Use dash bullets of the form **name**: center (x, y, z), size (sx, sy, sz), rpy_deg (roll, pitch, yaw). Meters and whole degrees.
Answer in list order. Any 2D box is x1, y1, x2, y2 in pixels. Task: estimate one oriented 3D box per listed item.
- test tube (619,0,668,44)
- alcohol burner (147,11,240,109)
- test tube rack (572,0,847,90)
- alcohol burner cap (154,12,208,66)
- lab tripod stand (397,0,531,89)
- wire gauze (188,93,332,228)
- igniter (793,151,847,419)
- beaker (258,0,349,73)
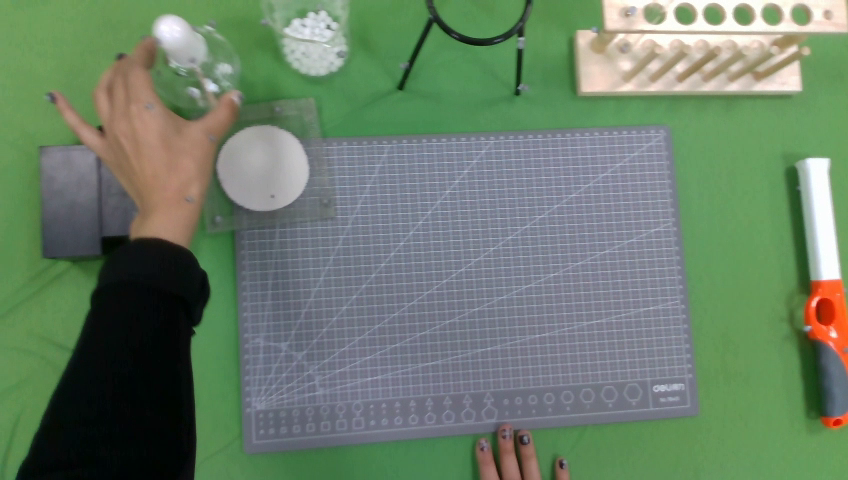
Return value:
- **test tube**: center (0.213, -0.220, 0.553), size (0.017, 0.150, 0.017), rpy_deg (1, 81, -5)
- **alcohol burner**: center (-0.201, -0.159, 0.521), size (0.078, 0.119, 0.077), rpy_deg (1, 80, -8)
- **test tube rack**: center (0.281, -0.198, 0.607), size (0.243, 0.085, 0.066), rpy_deg (-2, 85, -5)
- **alcohol burner cap**: center (-0.196, -0.163, 0.486), size (0.034, 0.048, 0.034), rpy_deg (0, 87, -3)
- **lab tripod stand**: center (0.038, -0.205, 0.561), size (0.148, 0.131, 0.148), rpy_deg (0, 84, -3)
- **wire gauze**: center (-0.160, -0.079, 0.591), size (0.125, 0.011, 0.121), rpy_deg (-9, 85, -5)
- **igniter**: center (0.414, 0.045, 0.630), size (0.057, 0.025, 0.276), rpy_deg (-2, 86, -16)
- **beaker**: center (-0.105, -0.202, 0.564), size (0.074, 0.100, 0.084), rpy_deg (-34, 90, -7)
